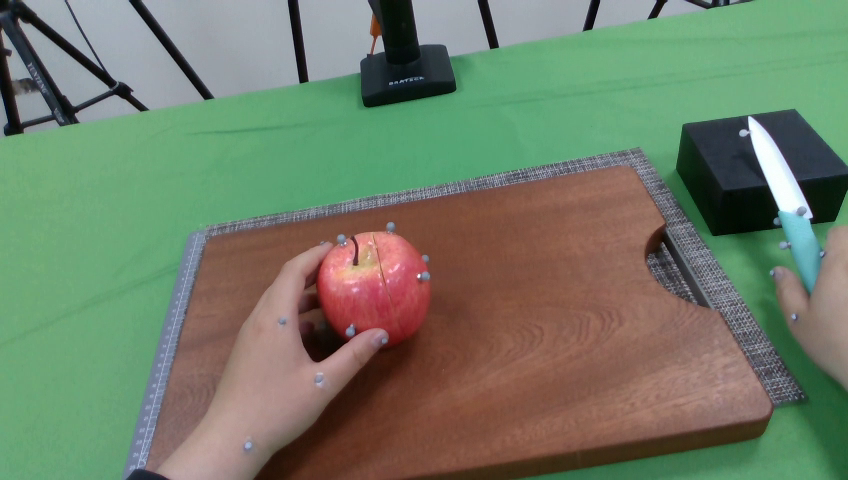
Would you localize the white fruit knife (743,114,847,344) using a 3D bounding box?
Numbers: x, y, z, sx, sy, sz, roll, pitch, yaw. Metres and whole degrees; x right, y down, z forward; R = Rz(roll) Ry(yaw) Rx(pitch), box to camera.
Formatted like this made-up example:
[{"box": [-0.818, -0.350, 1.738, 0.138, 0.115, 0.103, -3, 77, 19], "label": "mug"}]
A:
[{"box": [0.284, -0.016, 0.463, 0.027, 0.016, 0.205, -8, 61, 3], "label": "white fruit knife"}]

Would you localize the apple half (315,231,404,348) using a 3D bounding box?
[{"box": [-0.049, 0.041, 0.435, 0.053, 0.075, 0.080, -18, 46, -1], "label": "apple half"}]

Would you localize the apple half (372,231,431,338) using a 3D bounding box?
[{"box": [-0.011, 0.029, 0.436, 0.033, 0.082, 0.080, -18, 42, -2], "label": "apple half"}]
